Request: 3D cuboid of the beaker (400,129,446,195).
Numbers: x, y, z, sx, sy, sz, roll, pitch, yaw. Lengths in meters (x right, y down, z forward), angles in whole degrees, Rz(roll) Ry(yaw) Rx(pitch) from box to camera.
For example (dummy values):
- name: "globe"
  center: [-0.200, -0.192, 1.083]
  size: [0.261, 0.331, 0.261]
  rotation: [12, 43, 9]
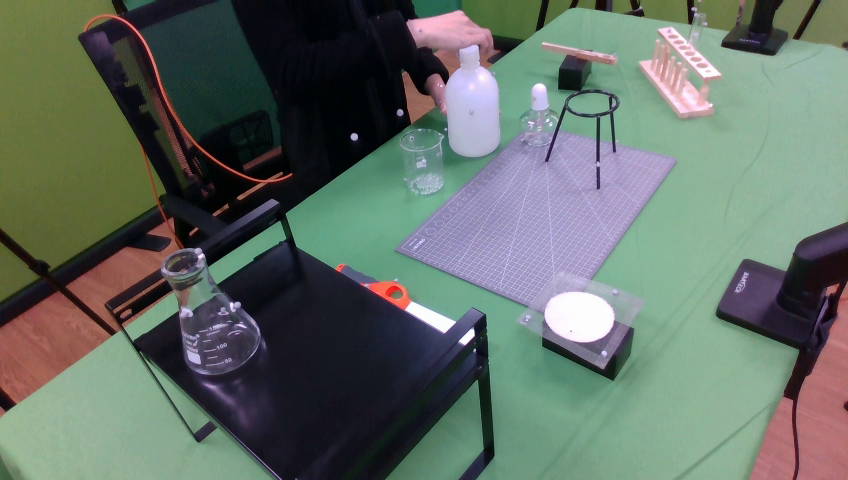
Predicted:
- name: "beaker"
  center: [0.004, -0.140, 1.087]
  size: [0.084, 0.101, 0.073]
  rotation: [-20, 42, -14]

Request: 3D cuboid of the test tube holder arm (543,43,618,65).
- name: "test tube holder arm"
  center: [0.344, -0.413, 1.340]
  size: [0.177, 0.015, 0.013]
  rotation: [25, 50, 31]

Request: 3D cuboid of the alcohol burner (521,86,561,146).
- name: "alcohol burner"
  center: [0.223, -0.241, 1.156]
  size: [0.078, 0.119, 0.077]
  rotation: [-5, 43, 5]

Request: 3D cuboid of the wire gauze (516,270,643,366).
- name: "wire gauze"
  center: [0.200, 0.093, 0.777]
  size: [0.124, 0.011, 0.122]
  rotation: [23, 49, 32]

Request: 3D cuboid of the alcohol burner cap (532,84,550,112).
- name: "alcohol burner cap"
  center: [0.218, -0.269, 1.133]
  size: [0.034, 0.048, 0.033]
  rotation: [-8, 36, 7]

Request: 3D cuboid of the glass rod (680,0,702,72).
- name: "glass rod"
  center: [0.543, -0.417, 1.233]
  size: [0.008, 0.200, 0.008]
  rotation: [1, 40, 0]

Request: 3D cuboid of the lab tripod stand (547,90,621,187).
- name: "lab tripod stand"
  center: [0.289, -0.184, 1.062]
  size: [0.148, 0.132, 0.147]
  rotation: [-6, 41, 6]

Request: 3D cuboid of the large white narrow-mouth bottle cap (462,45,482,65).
- name: "large white narrow-mouth bottle cap"
  center: [0.085, -0.332, 1.082]
  size: [0.038, 0.024, 0.037]
  rotation: [-4, 40, 4]

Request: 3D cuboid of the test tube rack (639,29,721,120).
- name: "test tube rack"
  center: [0.527, -0.351, 1.262]
  size: [0.067, 0.085, 0.241]
  rotation: [-8, 40, 1]

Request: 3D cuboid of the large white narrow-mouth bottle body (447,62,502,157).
- name: "large white narrow-mouth bottle body"
  center: [0.094, -0.261, 1.142]
  size: [0.102, 0.195, 0.101]
  rotation: [-4, 40, 4]

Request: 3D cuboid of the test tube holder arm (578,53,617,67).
- name: "test tube holder arm"
  center: [0.376, -0.393, 1.314]
  size: [0.087, 0.015, 0.010]
  rotation: [26, 51, 32]

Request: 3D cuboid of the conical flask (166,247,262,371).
- name: "conical flask"
  center: [-0.208, 0.064, 0.584]
  size: [0.075, 0.122, 0.075]
  rotation: [-5, 40, 4]

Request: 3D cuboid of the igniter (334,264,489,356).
- name: "igniter"
  center: [-0.029, 0.095, 0.871]
  size: [0.274, 0.025, 0.057]
  rotation: [22, 59, 31]

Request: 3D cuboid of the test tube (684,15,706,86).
- name: "test tube"
  center: [0.540, -0.378, 1.215]
  size: [0.017, 0.151, 0.017]
  rotation: [-2, 44, 3]
